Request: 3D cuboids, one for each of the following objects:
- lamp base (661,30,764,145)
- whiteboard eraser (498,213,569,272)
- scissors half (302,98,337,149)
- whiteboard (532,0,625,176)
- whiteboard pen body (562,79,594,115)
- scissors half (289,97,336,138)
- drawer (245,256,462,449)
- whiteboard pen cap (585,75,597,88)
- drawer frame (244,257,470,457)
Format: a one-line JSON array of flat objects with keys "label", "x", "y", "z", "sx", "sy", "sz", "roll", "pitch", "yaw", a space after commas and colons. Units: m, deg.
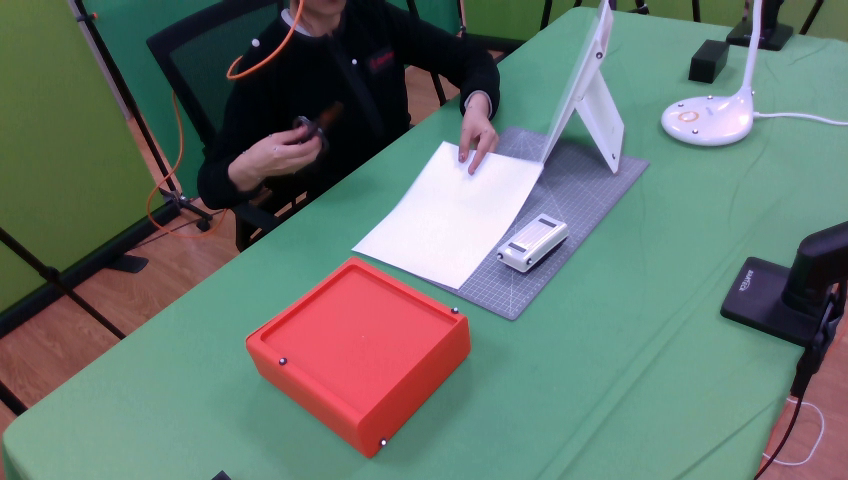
[{"label": "lamp base", "x": 0.535, "y": -0.287, "z": 1.096, "sx": 0.179, "sy": 0.181, "sz": 0.159, "roll": -10, "pitch": 40, "yaw": -4}, {"label": "whiteboard eraser", "x": 0.168, "y": 0.006, "z": 0.923, "sx": 0.113, "sy": 0.042, "sz": 0.055, "roll": -36, "pitch": 48, "yaw": -28}, {"label": "scissors half", "x": -0.170, "y": -0.192, "z": 1.007, "sx": 0.040, "sy": 0.174, "sz": 0.013, "roll": 35, "pitch": 63, "yaw": -9}, {"label": "whiteboard", "x": 0.320, "y": -0.259, "z": 1.050, "sx": 0.144, "sy": 0.306, "sz": 0.217, "roll": 21, "pitch": 45, "yaw": 5}, {"label": "whiteboard pen body", "x": 0.328, "y": -0.306, "z": 1.277, "sx": 0.017, "sy": 0.017, "sz": 0.141, "roll": 20, "pitch": 51, "yaw": 30}, {"label": "scissors half", "x": -0.184, "y": -0.206, "z": 1.001, "sx": 0.174, "sy": 0.040, "sz": 0.013, "roll": -12, "pitch": 36, "yaw": 54}, {"label": "drawer", "x": -0.089, "y": 0.136, "z": 0.792, "sx": 0.210, "sy": 0.073, "sz": 0.195, "roll": 26, "pitch": 51, "yaw": 34}, {"label": "whiteboard pen cap", "x": 0.362, "y": -0.343, "z": 1.310, "sx": 0.018, "sy": 0.018, "sz": 0.033, "roll": 19, "pitch": 54, "yaw": 29}, {"label": "drawer frame", "x": -0.084, "y": 0.138, "z": 0.788, "sx": 0.212, "sy": 0.083, "sz": 0.202, "roll": 25, "pitch": 50, "yaw": 33}]
